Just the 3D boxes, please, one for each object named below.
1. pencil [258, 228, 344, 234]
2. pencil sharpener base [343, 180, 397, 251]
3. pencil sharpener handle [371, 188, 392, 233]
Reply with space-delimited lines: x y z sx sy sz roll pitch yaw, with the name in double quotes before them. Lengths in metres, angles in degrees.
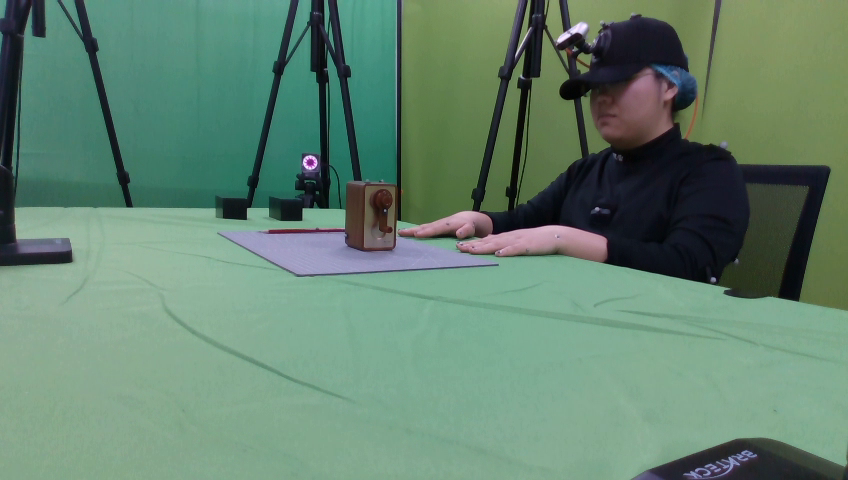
"pencil" -0.212 -0.017 1.131 0.195 0.012 0.012 -2 8 -26
"pencil sharpener base" -0.085 -0.039 0.958 0.062 0.107 0.076 -1 8 -31
"pencil sharpener handle" -0.058 -0.044 0.913 0.036 0.067 0.030 -1 9 -31
